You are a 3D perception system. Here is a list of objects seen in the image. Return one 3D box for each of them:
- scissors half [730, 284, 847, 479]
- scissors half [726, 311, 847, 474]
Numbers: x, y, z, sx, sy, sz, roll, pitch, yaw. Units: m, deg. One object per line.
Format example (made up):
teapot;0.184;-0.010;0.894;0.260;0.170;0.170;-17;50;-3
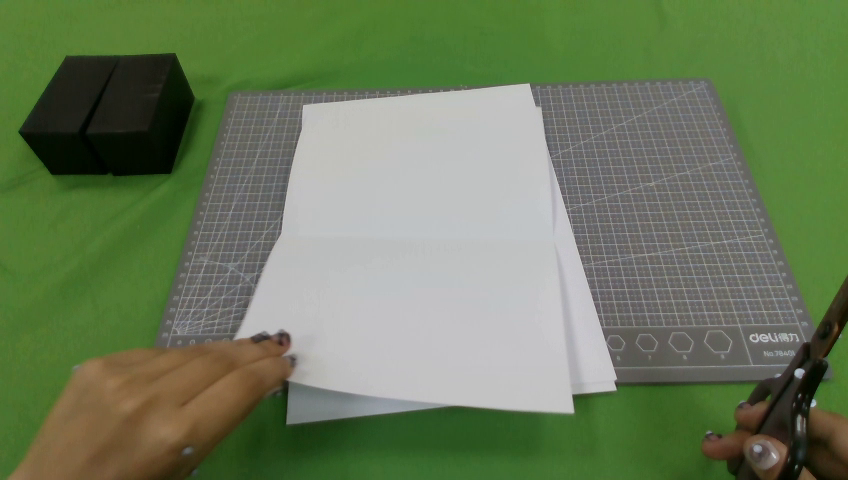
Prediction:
scissors half;0.188;0.059;0.286;0.013;0.175;0.040;21;15;11
scissors half;0.195;0.053;0.304;0.012;0.176;0.040;23;31;16
